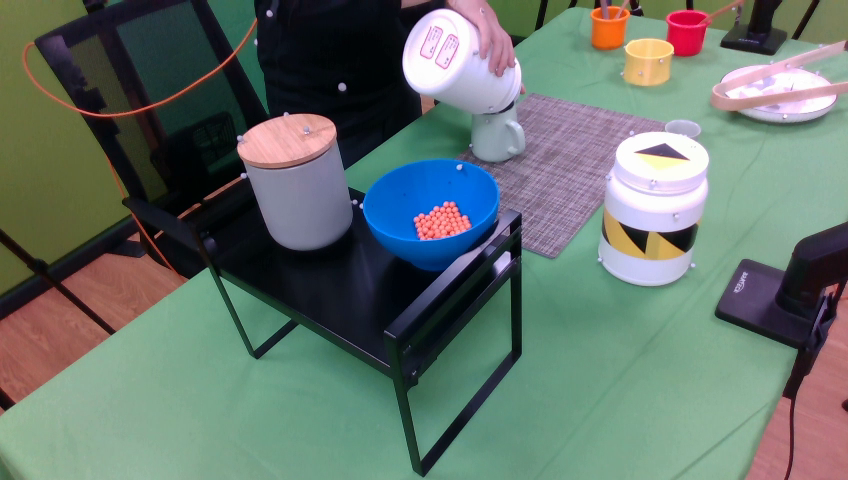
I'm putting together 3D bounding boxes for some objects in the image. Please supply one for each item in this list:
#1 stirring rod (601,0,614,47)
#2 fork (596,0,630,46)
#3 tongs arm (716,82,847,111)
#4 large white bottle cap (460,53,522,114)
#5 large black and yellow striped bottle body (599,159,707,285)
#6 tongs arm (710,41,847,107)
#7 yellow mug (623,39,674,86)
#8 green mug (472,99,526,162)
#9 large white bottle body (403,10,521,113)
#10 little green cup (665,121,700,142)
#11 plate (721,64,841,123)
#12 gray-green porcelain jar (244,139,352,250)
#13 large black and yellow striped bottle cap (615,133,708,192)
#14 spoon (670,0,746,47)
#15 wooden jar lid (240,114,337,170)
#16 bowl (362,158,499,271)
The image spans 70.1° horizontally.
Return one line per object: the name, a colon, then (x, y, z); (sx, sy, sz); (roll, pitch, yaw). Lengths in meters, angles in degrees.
stirring rod: (0.439, -0.552, 1.463); (0.014, 0.006, 0.175); (-7, 83, 2)
fork: (0.481, -0.556, 1.453); (0.028, 0.019, 0.207); (40, 103, 38)
tongs arm: (0.738, -0.282, 1.134); (0.388, 0.028, 0.028); (-9, 47, -5)
large white bottle cap: (0.126, -0.293, 1.136); (0.115, 0.115, 0.018); (-3, 34, 5)
large black and yellow striped bottle body: (0.320, -0.042, 0.854); (0.131, 0.185, 0.130); (-4, 41, 4)
tongs arm: (0.712, -0.332, 1.194); (0.386, 0.026, 0.050); (-18, 45, -16)
yellow mug: (0.484, -0.398, 1.333); (0.100, 0.064, 0.130); (-18, 41, -11)
green mug: (0.144, -0.202, 1.122); (0.093, 0.105, 0.124); (-29, 45, -23)
large white bottle body: (0.069, -0.285, 1.002); (0.129, 0.130, 0.186); (31, 16, 36)
little green cup: (0.473, -0.188, 1.113); (0.061, 0.039, 0.061); (-5, 40, 5)
plate: (0.695, -0.282, 1.189); (0.207, 0.039, 0.206); (-4, 40, 4)
gray-green porcelain jar: (-0.144, -0.060, 0.714); (0.106, 0.127, 0.105); (-4, 41, 4)
large black and yellow striped bottle cap: (0.312, -0.105, 0.798); (0.115, 0.019, 0.114); (-5, 41, 5)
spoon: (0.629, -0.484, 1.350); (0.022, 0.193, 0.042); (48, 54, -7)
wooden jar lid: (-0.149, -0.106, 0.673); (0.108, 0.021, 0.108); (-6, 39, 5)
bowl: (0.011, -0.019, 0.679); (0.151, 0.077, 0.150); (-5, 41, 4)
